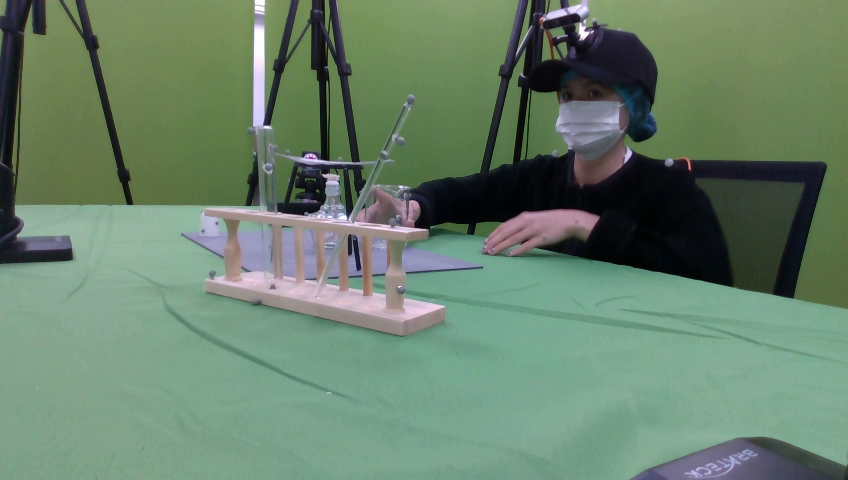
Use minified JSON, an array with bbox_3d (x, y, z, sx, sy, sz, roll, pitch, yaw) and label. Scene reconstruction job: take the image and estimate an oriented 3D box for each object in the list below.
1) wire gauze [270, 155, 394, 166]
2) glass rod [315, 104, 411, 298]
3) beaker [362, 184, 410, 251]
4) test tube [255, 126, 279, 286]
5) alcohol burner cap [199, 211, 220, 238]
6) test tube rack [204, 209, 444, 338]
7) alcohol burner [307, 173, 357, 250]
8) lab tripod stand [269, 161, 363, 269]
[{"bbox_3d":[-0.121,-0.102,0.785,0.122,0.011,0.124,-3,10,-39],"label":"wire gauze"},{"bbox_3d":[-0.055,-0.026,0.517,0.008,0.199,0.008,23,24,-11],"label":"glass rod"},{"bbox_3d":[-0.060,-0.036,0.956,0.074,0.100,0.083,-1,9,-24],"label":"beaker"},{"bbox_3d":[-0.147,-0.031,0.566,0.017,0.150,0.017,-1,8,0],"label":"test tube"},{"bbox_3d":[-0.356,-0.027,1.002,0.034,0.048,0.034,2,7,0],"label":"alcohol burner cap"},{"bbox_3d":[-0.100,0.021,0.565,0.241,0.085,0.067,7,9,32],"label":"test tube rack"},{"bbox_3d":[-0.144,-0.045,0.940,0.078,0.119,0.078,1,8,0],"label":"alcohol burner"},{"bbox_3d":[-0.125,-0.036,0.794,0.148,0.131,0.148,5,7,0],"label":"lab tripod stand"}]
